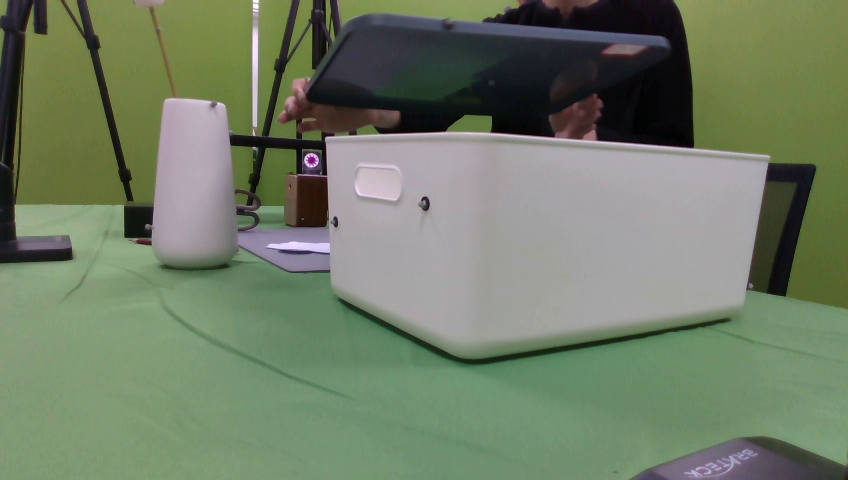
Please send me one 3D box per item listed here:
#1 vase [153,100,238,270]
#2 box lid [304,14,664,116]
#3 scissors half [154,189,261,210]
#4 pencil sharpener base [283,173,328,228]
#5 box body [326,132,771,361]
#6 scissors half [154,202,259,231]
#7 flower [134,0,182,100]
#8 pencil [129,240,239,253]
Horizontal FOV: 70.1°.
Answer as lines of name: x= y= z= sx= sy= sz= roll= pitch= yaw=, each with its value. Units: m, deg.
vase: x=-0.278 y=-0.066 z=0.736 sx=0.098 sy=0.200 sz=0.098 roll=2 pitch=8 yaw=0
box lid: x=0.057 y=-0.189 z=0.713 sx=0.373 sy=0.015 sz=0.262 roll=-2 pitch=-4 yaw=-21
scissors half: x=-0.373 y=-0.066 z=1.049 sx=0.176 sy=0.040 sz=0.012 roll=-6 pitch=12 yaw=-27
pencil sharpener base: x=-0.239 y=-0.081 z=1.231 sx=0.077 sy=0.107 sz=0.061 roll=-2 pitch=8 yaw=-36
box body: x=0.112 y=-0.011 z=0.583 sx=0.366 sy=0.160 sz=0.253 roll=-2 pitch=9 yaw=-32
scissors half: x=-0.375 y=-0.046 z=1.051 sx=0.176 sy=0.040 sz=0.013 roll=13 pitch=-2 yaw=-28
flower: x=-0.282 y=-0.146 z=0.712 sx=0.038 sy=0.362 sz=0.044 roll=-23 pitch=24 yaw=-31
pencil: x=-0.350 y=0.008 z=0.874 sx=0.193 sy=0.012 sz=0.012 roll=4 pitch=8 yaw=19
